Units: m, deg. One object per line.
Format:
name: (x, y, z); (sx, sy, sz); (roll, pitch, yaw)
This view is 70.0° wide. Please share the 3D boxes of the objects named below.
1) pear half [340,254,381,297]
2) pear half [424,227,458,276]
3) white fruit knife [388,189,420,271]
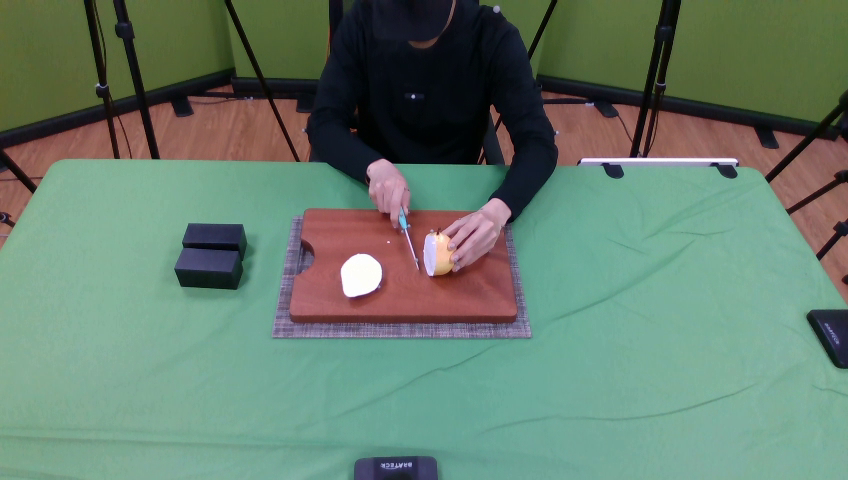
pear half: (-0.116, 0.068, 1.074); (0.070, 0.031, 0.088); (31, 65, 4)
pear half: (0.034, 0.013, 1.084); (0.056, 0.110, 0.076); (-13, 54, -16)
white fruit knife: (-0.037, -0.024, 1.159); (0.016, 0.027, 0.206); (-14, 54, -9)
